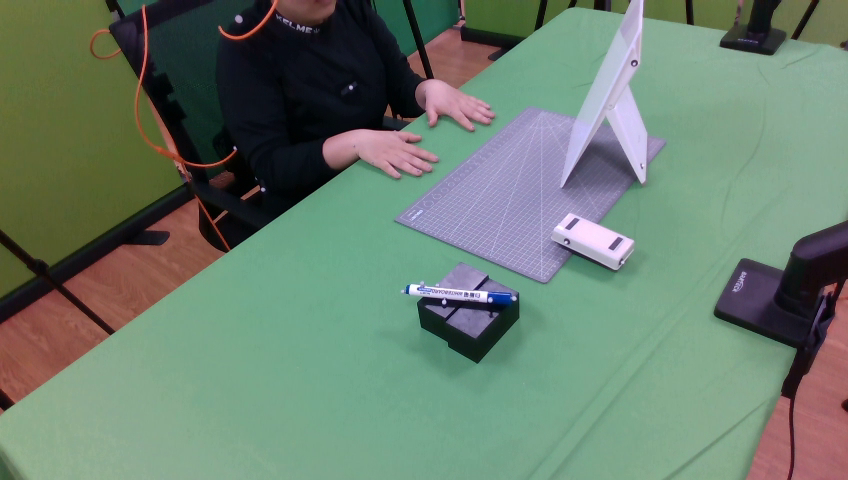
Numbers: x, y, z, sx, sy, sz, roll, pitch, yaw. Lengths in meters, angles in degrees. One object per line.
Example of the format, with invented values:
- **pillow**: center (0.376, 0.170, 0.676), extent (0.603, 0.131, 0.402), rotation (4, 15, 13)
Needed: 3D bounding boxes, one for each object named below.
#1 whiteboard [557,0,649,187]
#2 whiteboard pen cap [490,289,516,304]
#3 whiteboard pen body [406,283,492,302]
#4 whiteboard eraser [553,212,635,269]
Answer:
- **whiteboard**: center (0.361, -0.238, 1.026), extent (0.144, 0.306, 0.217), rotation (21, 45, 3)
- **whiteboard pen cap**: center (0.105, 0.074, 0.798), extent (0.033, 0.018, 0.018), rotation (-8, 37, -28)
- **whiteboard pen body**: center (0.044, 0.072, 0.812), extent (0.140, 0.017, 0.017), rotation (4, 42, 14)
- **whiteboard eraser**: center (0.257, 0.002, 0.918), extent (0.112, 0.042, 0.056), rotation (27, 50, 30)
